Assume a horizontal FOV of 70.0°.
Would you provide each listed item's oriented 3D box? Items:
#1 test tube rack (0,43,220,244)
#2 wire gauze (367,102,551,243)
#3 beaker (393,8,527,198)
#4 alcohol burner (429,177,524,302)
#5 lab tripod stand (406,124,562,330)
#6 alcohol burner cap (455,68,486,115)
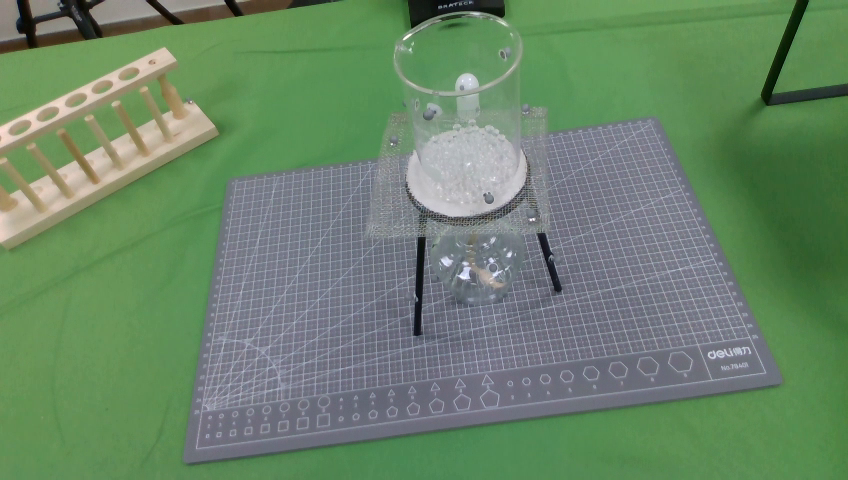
[{"bbox_3d":[-0.351,-0.104,0.634,0.242,0.086,0.066,-34,56,-17],"label":"test tube rack"},{"bbox_3d":[0.026,-0.052,0.425,0.121,0.011,0.124,0,57,10],"label":"wire gauze"},{"bbox_3d":[0.023,-0.082,0.386,0.083,0.101,0.074,25,62,25],"label":"beaker"},{"bbox_3d":[0.040,-0.004,0.482,0.078,0.120,0.077,-5,51,6],"label":"alcohol burner"},{"bbox_3d":[0.037,-0.009,0.474,0.148,0.133,0.147,-4,55,5],"label":"lab tripod stand"},{"bbox_3d":[0.049,-0.162,0.650,0.034,0.048,0.033,-4,53,6],"label":"alcohol burner cap"}]
